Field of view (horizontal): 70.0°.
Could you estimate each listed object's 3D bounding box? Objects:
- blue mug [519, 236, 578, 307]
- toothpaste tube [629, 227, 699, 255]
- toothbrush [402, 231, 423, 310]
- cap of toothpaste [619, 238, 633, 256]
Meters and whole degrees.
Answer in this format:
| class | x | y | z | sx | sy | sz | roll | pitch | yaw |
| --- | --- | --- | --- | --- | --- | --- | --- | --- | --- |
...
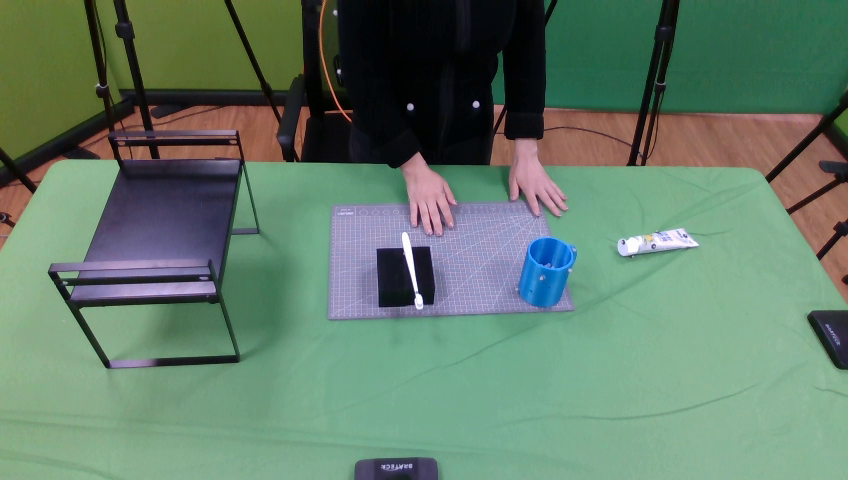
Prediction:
| class | x | y | z | sx | sy | sz | roll | pitch | yaw |
| --- | --- | --- | --- | --- | --- | --- | --- | --- | --- |
| blue mug | 0.234 | 0.052 | 1.102 | 0.116 | 0.106 | 0.082 | -23 | 52 | -24 |
| toothpaste tube | 0.475 | 0.003 | 1.223 | 0.165 | 0.035 | 0.054 | -10 | 52 | -18 |
| toothbrush | -0.022 | 0.049 | 1.080 | 0.014 | 0.017 | 0.180 | -9 | 47 | -5 |
| cap of toothpaste | 0.400 | 0.013 | 1.200 | 0.011 | 0.037 | 0.037 | -10 | 48 | -18 |
